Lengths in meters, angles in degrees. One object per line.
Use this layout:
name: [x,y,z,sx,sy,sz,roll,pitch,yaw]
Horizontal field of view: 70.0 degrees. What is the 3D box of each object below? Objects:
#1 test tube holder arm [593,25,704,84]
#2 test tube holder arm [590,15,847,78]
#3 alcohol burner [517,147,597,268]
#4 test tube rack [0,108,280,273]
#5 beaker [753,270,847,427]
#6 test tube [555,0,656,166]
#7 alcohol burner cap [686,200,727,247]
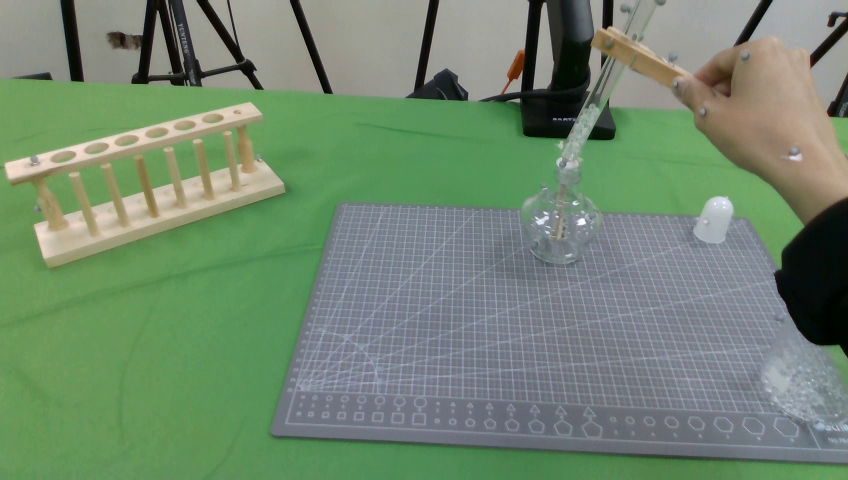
test tube holder arm: [0.168,-0.137,0.448,0.088,0.010,0.015,20,57,-1]
test tube holder arm: [0.209,-0.136,0.430,0.177,0.013,0.015,-4,48,29]
alcohol burner: [0.129,-0.033,0.581,0.078,0.120,0.077,0,37,0]
test tube rack: [-0.280,-0.058,0.627,0.243,0.086,0.066,-22,44,-27]
beaker: [0.294,0.082,0.450,0.074,0.101,0.083,-16,41,-21]
test tube: [0.138,-0.120,0.473,0.017,0.151,0.017,12,41,-10]
alcohol burner cap: [0.294,-0.020,0.626,0.034,0.048,0.033,1,38,0]
